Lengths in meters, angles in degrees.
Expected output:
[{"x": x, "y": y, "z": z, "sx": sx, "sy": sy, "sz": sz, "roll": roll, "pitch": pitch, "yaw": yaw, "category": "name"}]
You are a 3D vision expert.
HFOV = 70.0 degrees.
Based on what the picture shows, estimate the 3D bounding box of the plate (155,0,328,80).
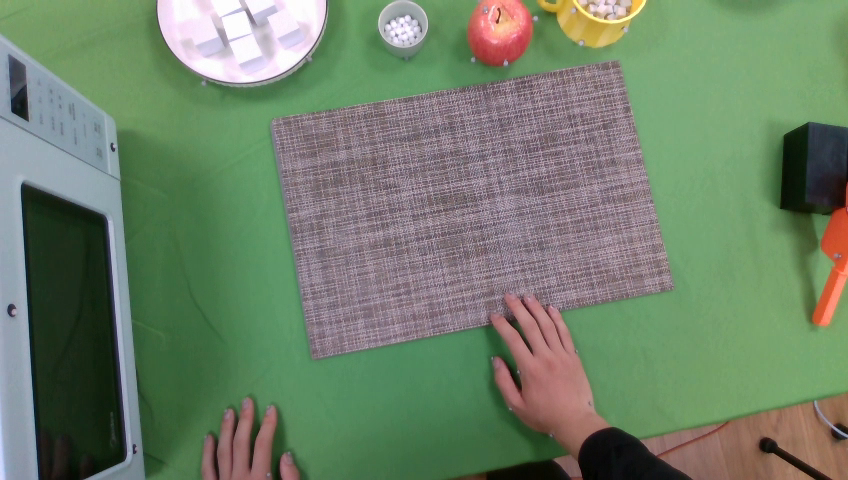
[{"x": -0.222, "y": -0.294, "z": 0.753, "sx": 0.208, "sy": 0.039, "sz": 0.207, "roll": 0, "pitch": 83, "yaw": -2, "category": "plate"}]

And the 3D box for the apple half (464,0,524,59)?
[{"x": 0.078, "y": -0.256, "z": 0.745, "sx": 0.053, "sy": 0.074, "sz": 0.081, "roll": -37, "pitch": 89, "yaw": -2, "category": "apple half"}]

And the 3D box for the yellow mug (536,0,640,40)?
[{"x": 0.203, "y": -0.311, "z": 0.760, "sx": 0.131, "sy": 0.064, "sz": 0.099, "roll": 0, "pitch": 83, "yaw": -1, "category": "yellow mug"}]

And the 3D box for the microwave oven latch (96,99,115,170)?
[{"x": -0.380, "y": -0.122, "z": 0.706, "sx": 0.030, "sy": 0.029, "sz": 0.079, "roll": -6, "pitch": 84, "yaw": -4, "category": "microwave oven latch"}]

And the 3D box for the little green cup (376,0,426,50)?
[{"x": -0.029, "y": -0.270, "z": 0.759, "sx": 0.061, "sy": 0.039, "sz": 0.061, "roll": 0, "pitch": 83, "yaw": -2, "category": "little green cup"}]

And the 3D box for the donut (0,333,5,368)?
[{"x": -0.480, "y": 0.117, "z": 0.615, "sx": 0.099, "sy": 0.048, "sz": 0.099, "roll": 0, "pitch": 84, "yaw": -2, "category": "donut"}]

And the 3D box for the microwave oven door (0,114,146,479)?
[{"x": -0.348, "y": 0.081, "z": 0.581, "sx": 0.039, "sy": 0.244, "sz": 0.354, "roll": -8, "pitch": 83, "yaw": -3, "category": "microwave oven door"}]

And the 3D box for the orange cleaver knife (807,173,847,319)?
[{"x": 0.497, "y": -0.007, "z": 0.724, "sx": 0.012, "sy": 0.076, "sz": 0.212, "roll": 9, "pitch": 115, "yaw": 1, "category": "orange cleaver knife"}]

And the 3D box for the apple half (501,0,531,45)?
[{"x": 0.109, "y": -0.280, "z": 0.748, "sx": 0.033, "sy": 0.081, "sz": 0.081, "roll": -38, "pitch": 85, "yaw": -2, "category": "apple half"}]

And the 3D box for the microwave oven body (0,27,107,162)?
[{"x": -0.499, "y": 0.059, "z": 0.583, "sx": 0.326, "sy": 0.260, "sz": 0.440, "roll": -8, "pitch": 84, "yaw": -4, "category": "microwave oven body"}]

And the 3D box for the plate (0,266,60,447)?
[{"x": -0.482, "y": 0.122, "z": 0.627, "sx": 0.209, "sy": 0.038, "sz": 0.208, "roll": 0, "pitch": 84, "yaw": -4, "category": "plate"}]
